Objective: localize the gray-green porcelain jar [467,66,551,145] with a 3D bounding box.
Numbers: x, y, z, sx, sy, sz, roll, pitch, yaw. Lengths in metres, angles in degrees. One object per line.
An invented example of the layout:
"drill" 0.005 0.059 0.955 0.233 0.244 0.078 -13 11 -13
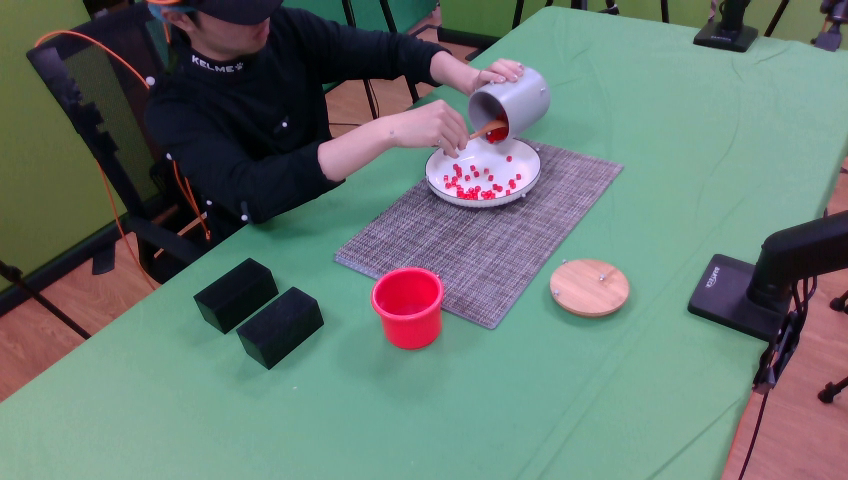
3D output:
"gray-green porcelain jar" 0.157 -0.246 1.091 0.127 0.106 0.105 -37 48 -28

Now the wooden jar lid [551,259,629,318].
"wooden jar lid" 0.234 0.070 0.857 0.108 0.021 0.108 -5 40 4

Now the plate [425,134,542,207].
"plate" 0.105 -0.122 1.079 0.207 0.039 0.206 -4 41 4

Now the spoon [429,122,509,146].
"spoon" 0.082 -0.180 1.038 0.195 0.021 0.041 -25 17 -39
